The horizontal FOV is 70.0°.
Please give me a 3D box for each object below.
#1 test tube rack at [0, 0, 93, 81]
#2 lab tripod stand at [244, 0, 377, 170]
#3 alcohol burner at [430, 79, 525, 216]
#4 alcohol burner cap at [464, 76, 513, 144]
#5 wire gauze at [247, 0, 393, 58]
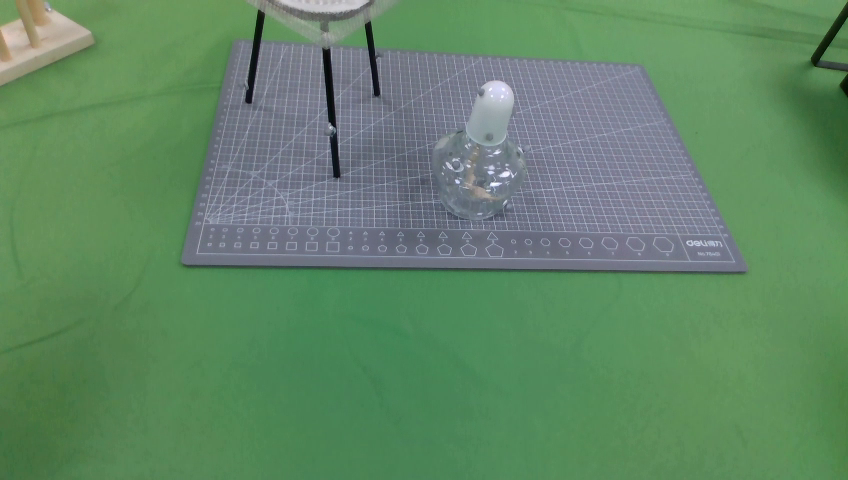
[{"bbox_3d":[-0.416,-0.171,0.505,0.066,0.086,0.242,32,52,17],"label":"test tube rack"},{"bbox_3d":[-0.087,-0.154,0.508,0.149,0.132,0.147,6,50,-7],"label":"lab tripod stand"},{"bbox_3d":[0.045,-0.076,0.477,0.078,0.120,0.077,6,48,-6],"label":"alcohol burner"},{"bbox_3d":[0.050,-0.098,0.449,0.034,0.048,0.033,4,54,-6],"label":"alcohol burner cap"},{"bbox_3d":[-0.082,-0.196,0.458,0.124,0.011,0.121,34,56,14],"label":"wire gauze"}]
